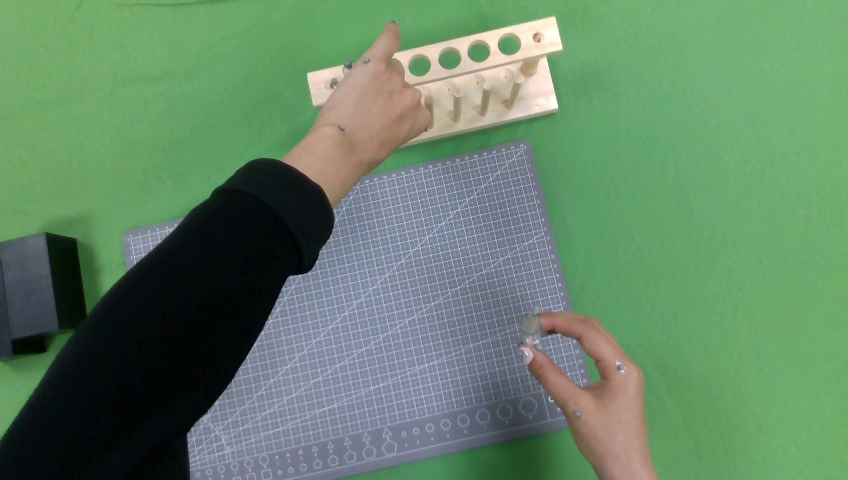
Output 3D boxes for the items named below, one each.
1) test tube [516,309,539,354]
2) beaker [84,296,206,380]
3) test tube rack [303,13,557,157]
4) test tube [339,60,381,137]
[{"bbox_3d":[0.085,0.077,0.492,0.017,0.151,0.017,-3,73,10],"label":"test tube"},{"bbox_3d":[-0.263,0.092,0.592,0.084,0.100,0.074,-21,83,0],"label":"beaker"},{"bbox_3d":[0.010,-0.152,0.614,0.242,0.085,0.066,-13,83,1],"label":"test tube rack"},{"bbox_3d":[-0.058,-0.127,0.562,0.017,0.151,0.017,-1,80,4],"label":"test tube"}]
